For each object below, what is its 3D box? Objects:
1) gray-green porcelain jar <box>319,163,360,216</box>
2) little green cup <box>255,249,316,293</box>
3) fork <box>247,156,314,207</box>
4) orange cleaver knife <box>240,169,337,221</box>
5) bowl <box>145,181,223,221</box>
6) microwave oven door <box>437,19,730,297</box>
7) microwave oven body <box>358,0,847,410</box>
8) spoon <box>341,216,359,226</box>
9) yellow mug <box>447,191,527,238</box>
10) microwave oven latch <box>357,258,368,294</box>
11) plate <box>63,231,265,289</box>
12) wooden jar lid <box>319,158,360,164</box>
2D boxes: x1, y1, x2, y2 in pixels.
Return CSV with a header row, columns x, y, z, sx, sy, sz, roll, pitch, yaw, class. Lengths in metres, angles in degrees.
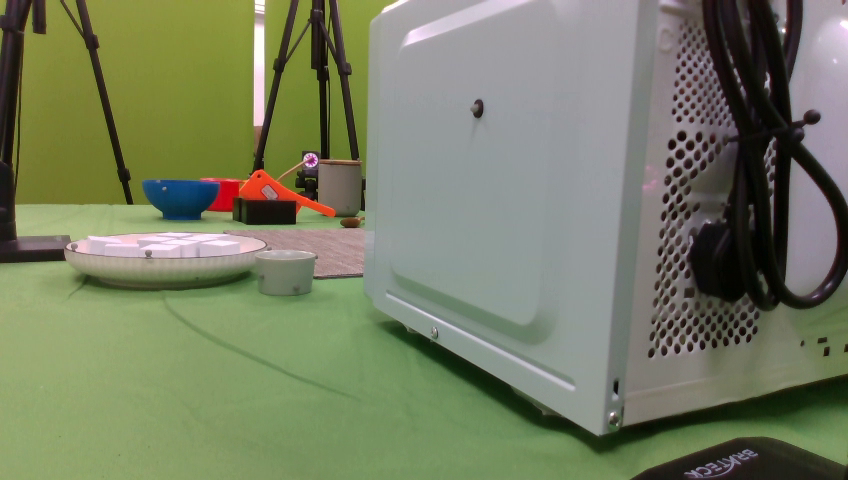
x,y,z,sx,sy,sz,roll,pitch,yaw,class
-0.204,-0.126,1.490,0.106,0.126,0.106,2,7,0,gray-green porcelain jar
-0.144,0.031,0.627,0.061,0.038,0.061,2,6,0,little green cup
-0.360,-0.147,1.523,0.207,0.018,0.028,-43,15,-7,fork
-0.286,-0.082,1.298,0.212,0.077,0.012,25,-2,-31,orange cleaver knife
-0.499,-0.081,1.261,0.151,0.077,0.151,2,7,0,bowl
0.181,-0.076,0.618,0.358,0.243,0.039,-2,9,-28,microwave oven door
0.210,-0.051,0.471,0.444,0.260,0.324,-1,7,-28,microwave oven body
-0.132,-0.048,1.305,0.041,0.021,0.194,-14,4,14,spoon
0.105,-0.039,0.965,0.131,0.064,0.099,6,2,-17,yellow mug
-0.019,0.031,0.530,0.079,0.029,0.030,-1,7,-27,microwave oven latch
-0.288,0.021,0.687,0.208,0.039,0.207,2,8,0,plate
-0.203,-0.189,1.481,0.108,0.020,0.108,2,10,0,wooden jar lid
